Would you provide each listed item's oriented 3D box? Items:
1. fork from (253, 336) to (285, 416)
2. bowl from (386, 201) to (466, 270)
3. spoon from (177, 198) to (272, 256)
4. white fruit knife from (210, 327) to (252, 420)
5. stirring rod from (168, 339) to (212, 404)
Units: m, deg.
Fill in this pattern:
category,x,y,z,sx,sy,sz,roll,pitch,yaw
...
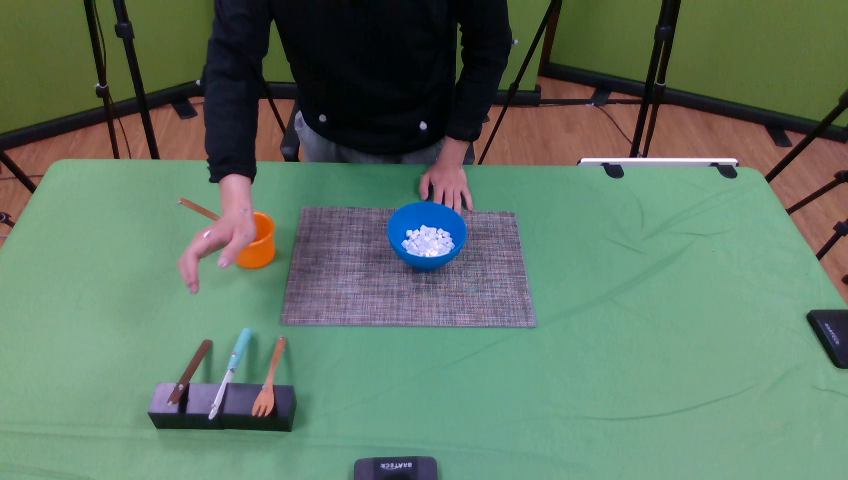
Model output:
category,x,y,z,sx,sy,sz,roll,pitch,yaw
fork,-0.236,0.206,0.939,0.028,0.019,0.206,0,26,-4
bowl,0.002,0.004,1.150,0.151,0.077,0.150,2,46,-2
spoon,-0.361,-0.025,1.107,0.021,0.195,0.041,-31,37,29
white fruit knife,-0.298,0.200,0.938,0.016,0.027,0.206,-1,30,0
stirring rod,-0.360,0.199,0.939,0.014,0.006,0.175,9,20,-6
